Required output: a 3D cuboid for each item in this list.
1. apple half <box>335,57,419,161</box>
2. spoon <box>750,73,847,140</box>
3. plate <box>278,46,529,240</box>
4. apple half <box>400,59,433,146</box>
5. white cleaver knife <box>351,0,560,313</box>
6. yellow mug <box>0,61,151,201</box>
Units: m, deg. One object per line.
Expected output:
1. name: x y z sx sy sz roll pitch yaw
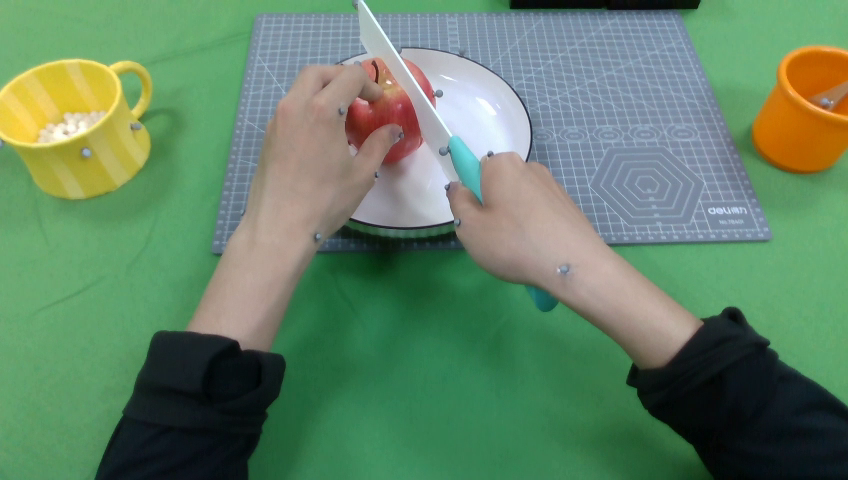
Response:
1. apple half: -0.043 -0.100 0.494 0.053 0.075 0.080 -31 67 -13
2. spoon: 0.368 -0.142 0.497 0.022 0.194 0.041 26 43 -38
3. plate: -0.017 -0.083 0.516 0.209 0.038 0.207 1 57 -1
4. apple half: -0.012 -0.116 0.505 0.033 0.082 0.080 -28 61 -15
5. white cleaver knife: 0.014 -0.069 0.443 0.021 0.066 0.284 -26 69 -10
6. yellow mug: -0.284 -0.102 0.510 0.099 0.064 0.130 28 59 17
